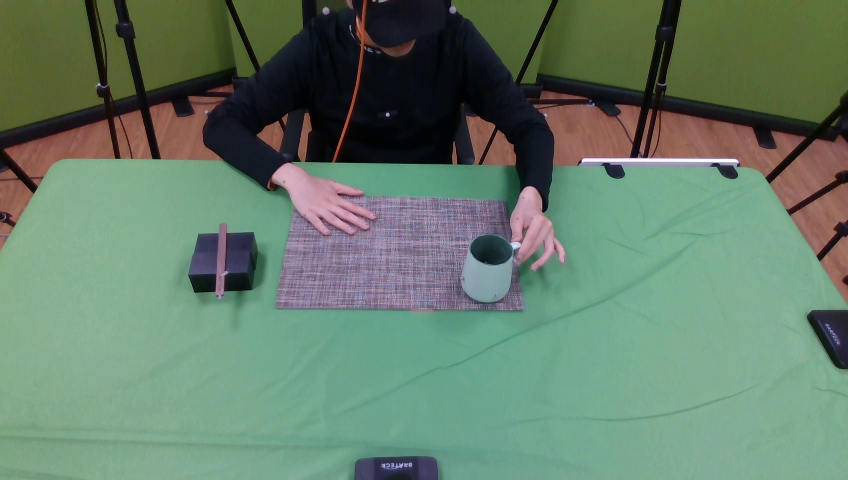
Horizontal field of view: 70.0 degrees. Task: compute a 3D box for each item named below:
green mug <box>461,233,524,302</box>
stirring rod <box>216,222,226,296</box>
[{"bbox_3d":[0.130,0.044,1.101,0.125,0.105,0.092,-25,53,-25],"label":"green mug"},{"bbox_3d":[-0.362,0.031,1.082,0.014,0.006,0.175,-6,48,-10],"label":"stirring rod"}]
